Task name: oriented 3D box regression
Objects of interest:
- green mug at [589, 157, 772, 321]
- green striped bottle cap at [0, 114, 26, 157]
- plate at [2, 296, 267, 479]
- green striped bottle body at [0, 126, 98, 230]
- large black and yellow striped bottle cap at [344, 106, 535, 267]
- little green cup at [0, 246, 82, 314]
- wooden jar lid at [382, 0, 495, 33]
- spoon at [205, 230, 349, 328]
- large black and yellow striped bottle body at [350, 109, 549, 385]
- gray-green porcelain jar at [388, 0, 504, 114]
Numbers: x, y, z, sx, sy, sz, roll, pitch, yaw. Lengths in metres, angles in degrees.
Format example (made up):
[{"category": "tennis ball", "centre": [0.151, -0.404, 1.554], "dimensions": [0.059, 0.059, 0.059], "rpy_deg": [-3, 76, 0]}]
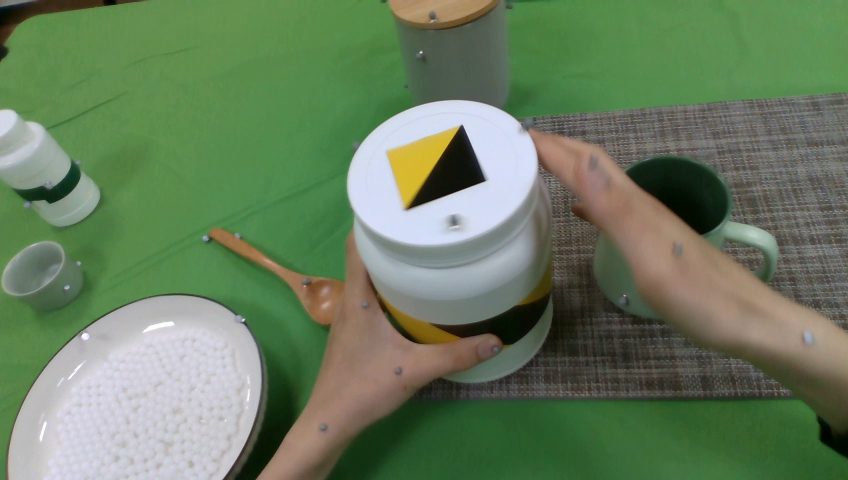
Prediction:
[{"category": "green mug", "centre": [0.190, 0.006, 0.453], "dimensions": [0.124, 0.106, 0.092], "rpy_deg": [16, 59, 21]}, {"category": "green striped bottle cap", "centre": [-0.404, -0.098, 0.574], "dimensions": [0.044, 0.020, 0.044], "rpy_deg": [-4, 56, 6]}, {"category": "plate", "centre": [-0.222, 0.142, 0.483], "dimensions": [0.209, 0.038, 0.207], "rpy_deg": [-5, 54, 7]}, {"category": "green striped bottle body", "centre": [-0.395, -0.068, 0.615], "dimensions": [0.063, 0.120, 0.062], "rpy_deg": [-6, 54, 8]}, {"category": "large black and yellow striped bottle cap", "centre": [0.008, -0.036, 0.364], "dimensions": [0.115, 0.019, 0.114], "rpy_deg": [-6, 54, 8]}, {"category": "little green cup", "centre": [-0.366, 0.040, 0.583], "dimensions": [0.061, 0.039, 0.061], "rpy_deg": [-5, 53, 8]}, {"category": "wooden jar lid", "centre": [0.016, -0.219, 0.557], "dimensions": [0.108, 0.021, 0.107], "rpy_deg": [-7, 52, 10]}, {"category": "spoon", "centre": [-0.141, 0.027, 0.558], "dimensions": [0.192, 0.022, 0.041], "rpy_deg": [27, 79, 26]}, {"category": "large black and yellow striped bottle body", "centre": [0.023, 0.011, 0.432], "dimensions": [0.130, 0.186, 0.129], "rpy_deg": [-5, 54, 8]}, {"category": "gray-green porcelain jar", "centre": [0.026, -0.179, 0.605], "dimensions": [0.106, 0.128, 0.105], "rpy_deg": [-5, 50, 7]}]
